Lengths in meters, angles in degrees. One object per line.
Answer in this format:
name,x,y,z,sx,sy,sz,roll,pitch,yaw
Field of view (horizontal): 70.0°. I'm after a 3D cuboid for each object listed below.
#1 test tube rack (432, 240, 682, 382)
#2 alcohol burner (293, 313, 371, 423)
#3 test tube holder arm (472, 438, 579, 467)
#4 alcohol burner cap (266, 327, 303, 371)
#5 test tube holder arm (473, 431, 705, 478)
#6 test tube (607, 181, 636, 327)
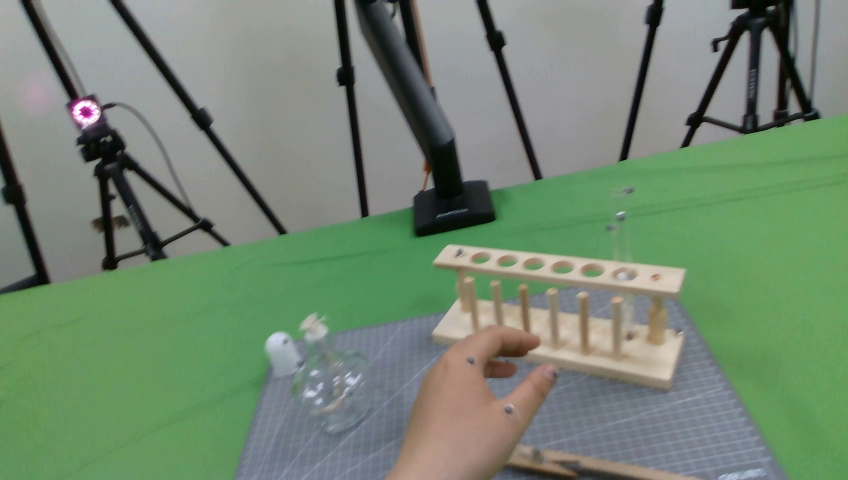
test tube rack,0.119,0.063,0.596,0.241,0.086,0.066,6,37,31
alcohol burner,-0.091,0.115,0.573,0.078,0.120,0.077,-9,32,6
test tube holder arm,0.083,0.174,0.496,0.087,0.015,0.010,1,68,23
alcohol burner cap,-0.156,0.117,0.669,0.034,0.048,0.033,-10,32,6
test tube holder arm,0.126,0.169,0.481,0.177,0.015,0.013,0,68,22
test tube,0.179,0.017,0.547,0.017,0.151,0.017,-11,28,6
